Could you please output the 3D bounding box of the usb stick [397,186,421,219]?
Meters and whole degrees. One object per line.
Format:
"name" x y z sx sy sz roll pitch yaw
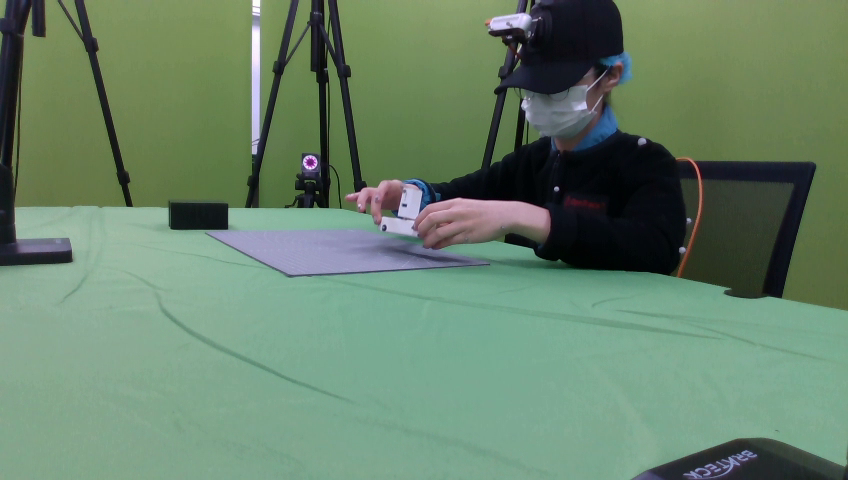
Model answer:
"usb stick" -0.024 -0.050 0.913 0.021 0.059 0.027 13 4 41

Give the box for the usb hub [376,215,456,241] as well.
"usb hub" -0.014 -0.019 0.919 0.124 0.025 0.050 9 1 44
